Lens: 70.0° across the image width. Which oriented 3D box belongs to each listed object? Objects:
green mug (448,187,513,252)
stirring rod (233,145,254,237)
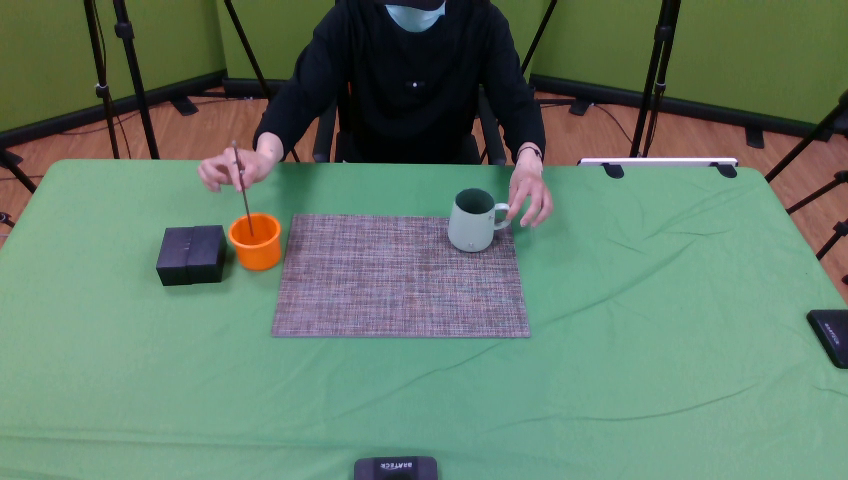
[{"bbox_3d":[0.111,-0.041,1.179,0.125,0.105,0.092,-7,47,-10],"label":"green mug"},{"bbox_3d":[-0.319,-0.084,1.071,0.006,0.177,0.014,-14,32,-19],"label":"stirring rod"}]
